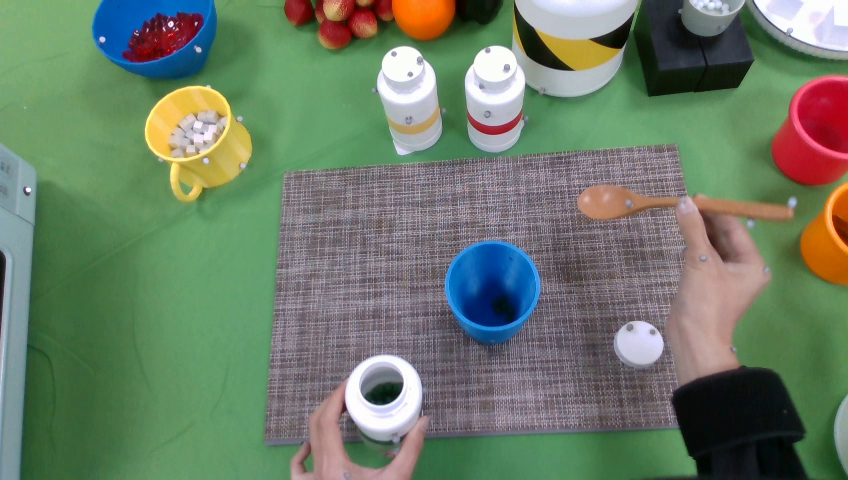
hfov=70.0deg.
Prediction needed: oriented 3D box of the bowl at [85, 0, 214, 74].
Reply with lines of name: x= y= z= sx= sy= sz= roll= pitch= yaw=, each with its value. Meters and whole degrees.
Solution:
bowl: x=-0.327 y=-0.263 z=0.758 sx=0.151 sy=0.077 sz=0.150 roll=-2 pitch=69 yaw=5

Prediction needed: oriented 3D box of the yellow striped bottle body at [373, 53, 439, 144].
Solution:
yellow striped bottle body: x=-0.019 y=-0.161 z=0.665 sx=0.063 sy=0.121 sz=0.062 roll=-2 pitch=68 yaw=6

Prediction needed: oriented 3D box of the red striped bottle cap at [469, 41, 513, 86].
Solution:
red striped bottle cap: x=0.067 y=-0.177 z=0.606 sx=0.044 sy=0.018 sz=0.044 roll=-1 pitch=67 yaw=3

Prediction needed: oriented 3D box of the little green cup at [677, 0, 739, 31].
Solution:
little green cup: x=0.308 y=-0.261 z=0.661 sx=0.061 sy=0.039 sz=0.061 roll=-2 pitch=67 yaw=4

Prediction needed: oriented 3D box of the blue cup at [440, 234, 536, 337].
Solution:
blue cup: x=0.060 y=0.052 z=0.580 sx=0.092 sy=0.101 sz=0.092 roll=-1 pitch=68 yaw=4

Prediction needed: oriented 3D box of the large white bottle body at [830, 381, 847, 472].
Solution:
large white bottle body: x=0.424 y=0.146 z=0.465 sx=0.130 sy=0.186 sz=0.129 roll=-2 pitch=68 yaw=6

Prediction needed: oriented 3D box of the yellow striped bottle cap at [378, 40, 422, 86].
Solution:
yellow striped bottle cap: x=-0.025 y=-0.181 z=0.617 sx=0.044 sy=0.019 sz=0.044 roll=-2 pitch=70 yaw=4

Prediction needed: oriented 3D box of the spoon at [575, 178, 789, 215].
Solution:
spoon: x=0.212 y=-0.035 z=0.527 sx=0.192 sy=0.022 sz=0.041 roll=10 pitch=59 yaw=55

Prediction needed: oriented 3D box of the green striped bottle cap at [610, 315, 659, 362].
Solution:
green striped bottle cap: x=0.206 y=0.097 z=0.594 sx=0.044 sy=0.020 sz=0.044 roll=-2 pitch=63 yaw=4

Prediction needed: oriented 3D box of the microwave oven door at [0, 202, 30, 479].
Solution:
microwave oven door: x=-0.446 y=0.095 z=0.523 sx=0.039 sy=0.245 sz=0.353 roll=-13 pitch=68 yaw=1

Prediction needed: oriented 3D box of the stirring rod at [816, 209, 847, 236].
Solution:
stirring rod: x=0.408 y=0.007 z=0.548 sx=0.014 sy=0.006 sz=0.175 roll=-2 pitch=26 yaw=3

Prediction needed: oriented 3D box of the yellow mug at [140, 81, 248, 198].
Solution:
yellow mug: x=-0.268 y=-0.111 z=0.699 sx=0.100 sy=0.064 sz=0.130 roll=6 pitch=70 yaw=7

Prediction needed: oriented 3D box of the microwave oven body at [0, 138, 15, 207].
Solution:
microwave oven body: x=-0.596 y=0.090 z=0.546 sx=0.326 sy=0.262 sz=0.438 roll=-13 pitch=69 yaw=1

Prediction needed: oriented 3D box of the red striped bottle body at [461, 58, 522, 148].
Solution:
red striped bottle body: x=0.074 y=-0.157 z=0.654 sx=0.063 sy=0.120 sz=0.062 roll=-4 pitch=66 yaw=9

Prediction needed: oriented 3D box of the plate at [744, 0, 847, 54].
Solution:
plate: x=0.476 y=-0.301 z=0.714 sx=0.209 sy=0.038 sz=0.207 roll=-2 pitch=69 yaw=5

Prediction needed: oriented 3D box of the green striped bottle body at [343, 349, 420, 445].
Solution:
green striped bottle body: x=-0.035 y=0.134 z=0.518 sx=0.063 sy=0.120 sz=0.062 roll=1 pitch=62 yaw=-1

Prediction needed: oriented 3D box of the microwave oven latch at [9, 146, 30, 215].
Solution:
microwave oven latch: x=-0.476 y=-0.067 z=0.698 sx=0.030 sy=0.030 sz=0.078 roll=-10 pitch=69 yaw=1

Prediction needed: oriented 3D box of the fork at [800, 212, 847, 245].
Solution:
fork: x=0.437 y=0.007 z=0.538 sx=0.028 sy=0.019 sz=0.205 roll=-41 pitch=26 yaw=-9

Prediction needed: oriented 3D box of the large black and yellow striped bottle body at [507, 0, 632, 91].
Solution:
large black and yellow striped bottle body: x=0.157 y=-0.265 z=0.653 sx=0.130 sy=0.185 sz=0.130 roll=-2 pitch=68 yaw=5
